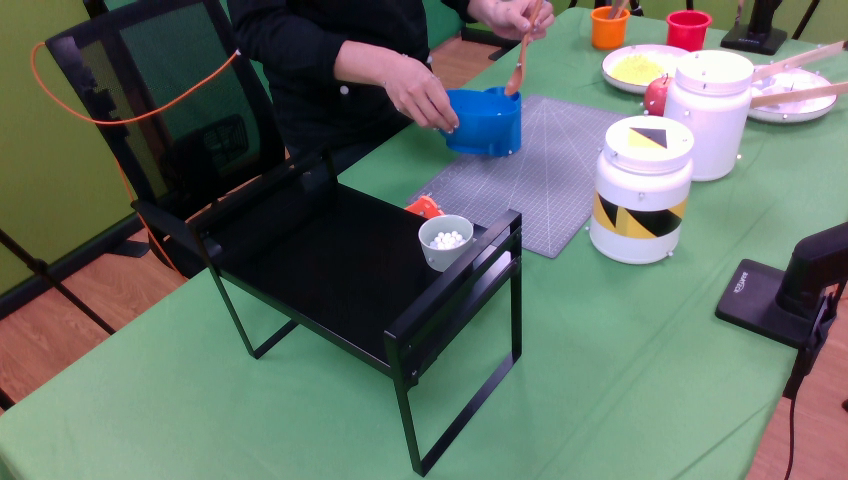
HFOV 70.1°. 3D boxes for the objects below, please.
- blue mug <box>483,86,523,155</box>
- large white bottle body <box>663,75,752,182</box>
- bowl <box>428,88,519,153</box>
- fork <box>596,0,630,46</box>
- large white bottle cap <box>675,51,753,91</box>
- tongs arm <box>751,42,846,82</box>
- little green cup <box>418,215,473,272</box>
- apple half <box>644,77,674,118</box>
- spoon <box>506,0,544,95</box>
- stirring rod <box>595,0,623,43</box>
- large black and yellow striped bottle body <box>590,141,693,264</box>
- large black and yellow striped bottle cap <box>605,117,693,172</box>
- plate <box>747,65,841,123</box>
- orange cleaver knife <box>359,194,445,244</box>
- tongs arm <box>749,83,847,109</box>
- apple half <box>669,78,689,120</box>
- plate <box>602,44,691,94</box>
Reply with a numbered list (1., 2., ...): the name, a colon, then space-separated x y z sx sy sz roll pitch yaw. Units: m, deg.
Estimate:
1. blue mug: 0.135 -0.235 1.163 0.082 0.106 0.115 -36 48 -29
2. large white bottle body: 0.472 -0.207 1.022 0.130 0.185 0.130 -4 41 4
3. bowl: 0.078 -0.194 1.007 0.151 0.077 0.151 5 28 -2
4. fork: 0.481 -0.556 1.452 0.028 0.019 0.207 40 103 40
5. large white bottle cap: 0.463 -0.271 0.967 0.115 0.018 0.114 -4 40 3
6. tongs arm: 0.708 -0.331 1.193 0.386 0.026 0.050 -18 45 -16
7. little green cup: 0.026 0.005 0.678 0.061 0.039 0.061 -4 40 4
8. apple half: 0.463 -0.279 1.194 0.053 0.075 0.081 8 46 24
9. spoon: 0.182 -0.350 1.065 0.022 0.194 0.041 5 23 -22
10. stirring rod: 0.460 -0.556 1.460 0.014 0.006 0.176 30 93 23
11. large black and yellow striped bottle body: 0.317 -0.071 0.889 0.131 0.185 0.130 -4 41 4
12. large black and yellow striped bottle cap: 0.309 -0.134 0.833 0.115 0.019 0.114 -5 40 5
13. plate: 0.694 -0.282 1.189 0.207 0.039 0.206 -4 40 4
14. orange cleaver knife: -0.032 -0.026 0.965 0.210 0.077 0.012 -9 29 51
15. tongs arm: 0.734 -0.280 1.133 0.388 0.028 0.028 -9 47 -5
16. apple half: 0.498 -0.273 1.180 0.032 0.082 0.081 7 42 25
17. plate: 0.494 -0.367 1.317 0.209 0.038 0.208 -4 40 4
